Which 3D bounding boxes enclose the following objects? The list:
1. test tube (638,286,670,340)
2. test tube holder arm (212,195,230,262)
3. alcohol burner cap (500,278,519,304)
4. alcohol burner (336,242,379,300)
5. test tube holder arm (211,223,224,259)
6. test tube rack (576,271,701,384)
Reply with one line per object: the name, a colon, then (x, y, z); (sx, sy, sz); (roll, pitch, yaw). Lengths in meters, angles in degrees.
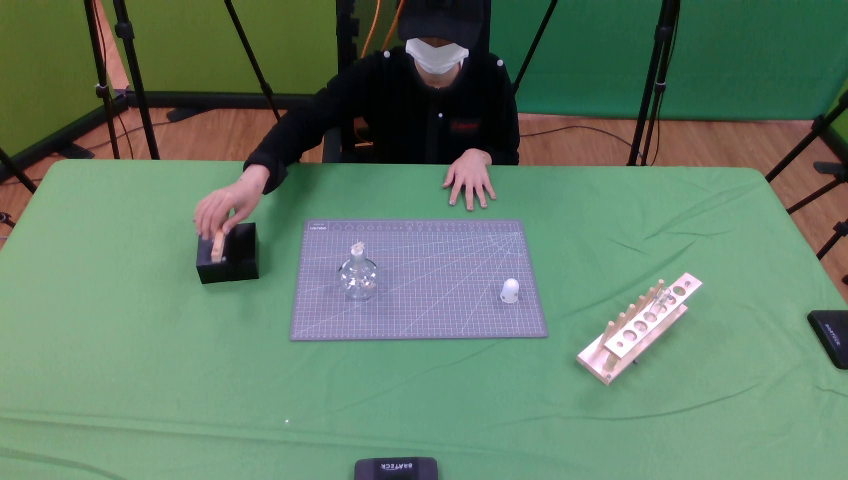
test tube: (0.373, 0.122, 0.994); (0.017, 0.151, 0.017); (0, 51, 0)
test tube holder arm: (-0.362, -0.024, 1.082); (0.015, 0.013, 0.177); (0, 40, -11)
alcohol burner cap: (0.157, 0.090, 1.104); (0.034, 0.048, 0.033); (2, 46, -2)
alcohol burner: (-0.118, 0.050, 1.072); (0.078, 0.120, 0.077); (2, 44, -1)
test tube holder arm: (-0.354, 0.000, 1.044); (0.015, 0.010, 0.087); (0, 40, -11)
test tube rack: (0.373, 0.138, 1.047); (0.242, 0.085, 0.066); (-31, 56, -29)
